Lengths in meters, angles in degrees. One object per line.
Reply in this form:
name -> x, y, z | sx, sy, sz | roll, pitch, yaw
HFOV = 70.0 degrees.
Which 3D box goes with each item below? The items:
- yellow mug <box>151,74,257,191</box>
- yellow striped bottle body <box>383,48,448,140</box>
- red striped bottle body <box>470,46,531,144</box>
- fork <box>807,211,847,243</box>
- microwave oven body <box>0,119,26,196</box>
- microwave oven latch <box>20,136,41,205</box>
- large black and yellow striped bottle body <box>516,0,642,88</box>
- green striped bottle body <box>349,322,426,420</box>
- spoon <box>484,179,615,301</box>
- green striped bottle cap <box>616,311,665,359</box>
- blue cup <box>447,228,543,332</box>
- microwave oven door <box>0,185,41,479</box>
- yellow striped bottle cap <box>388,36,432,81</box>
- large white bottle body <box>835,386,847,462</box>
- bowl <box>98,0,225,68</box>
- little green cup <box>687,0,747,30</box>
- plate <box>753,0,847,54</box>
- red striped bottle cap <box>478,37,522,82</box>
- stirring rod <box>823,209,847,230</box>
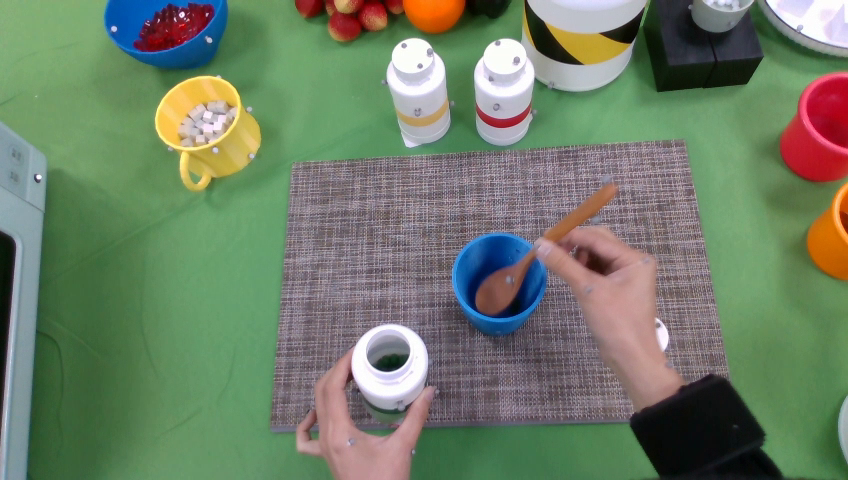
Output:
yellow mug -> -0.258, -0.119, 0.704 | 0.100, 0.064, 0.130 | 7, 70, 7
yellow striped bottle body -> -0.009, -0.167, 0.668 | 0.063, 0.121, 0.062 | -2, 68, 6
red striped bottle body -> 0.084, -0.162, 0.657 | 0.063, 0.121, 0.062 | -4, 66, 9
fork -> 0.444, 0.007, 0.538 | 0.028, 0.019, 0.205 | -40, 26, -9
microwave oven body -> -0.590, 0.076, 0.552 | 0.326, 0.262, 0.438 | -12, 69, 1
microwave oven latch -> -0.467, -0.079, 0.704 | 0.030, 0.030, 0.078 | -10, 69, 2
large black and yellow striped bottle body -> 0.169, -0.268, 0.655 | 0.130, 0.185, 0.130 | -2, 68, 5
green striped bottle body -> -0.030, 0.111, 0.518 | 0.063, 0.120, 0.062 | 0, 62, 0
spoon -> 0.093, 0.009, 0.507 | 0.022, 0.194, 0.041 | 11, 55, -20
green striped bottle cap -> 0.213, 0.093, 0.596 | 0.044, 0.020, 0.044 | -2, 64, 5
blue cup -> 0.067, 0.047, 0.582 | 0.092, 0.101, 0.092 | -1, 68, 4
microwave oven door -> -0.440, 0.084, 0.529 | 0.039, 0.245, 0.353 | -12, 68, 2
yellow striped bottle cap -> -0.015, -0.187, 0.620 | 0.044, 0.019, 0.044 | -2, 70, 5
large white bottle body -> 0.429, 0.145, 0.465 | 0.130, 0.186, 0.129 | -2, 68, 6
bowl -> -0.315, -0.272, 0.763 | 0.151, 0.077, 0.150 | -2, 69, 4
little green cup -> 0.319, -0.263, 0.662 | 0.061, 0.039, 0.061 | -2, 67, 4
plate -> 0.488, -0.301, 0.714 | 0.209, 0.038, 0.207 | -2, 69, 5
red striped bottle cap -> 0.077, -0.182, 0.608 | 0.044, 0.018, 0.044 | 0, 67, 1
stirring rod -> 0.415, 0.007, 0.548 | 0.014, 0.006, 0.175 | -1, 25, 4
